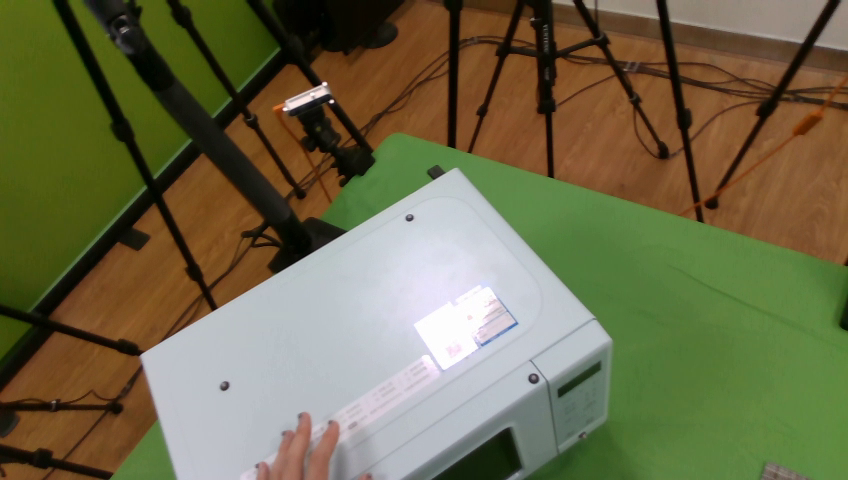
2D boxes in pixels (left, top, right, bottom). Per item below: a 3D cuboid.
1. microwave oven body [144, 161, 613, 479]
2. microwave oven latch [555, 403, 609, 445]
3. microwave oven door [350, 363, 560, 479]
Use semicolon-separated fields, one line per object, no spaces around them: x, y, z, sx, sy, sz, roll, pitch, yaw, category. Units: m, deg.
-0.048;0.168;0.749;0.442;0.263;0.322;-32;54;-8;microwave oven body
0.196;0.224;0.766;0.079;0.030;0.030;-30;54;-6;microwave oven latch
-0.013;0.280;0.654;0.356;0.246;0.039;-31;53;-8;microwave oven door
